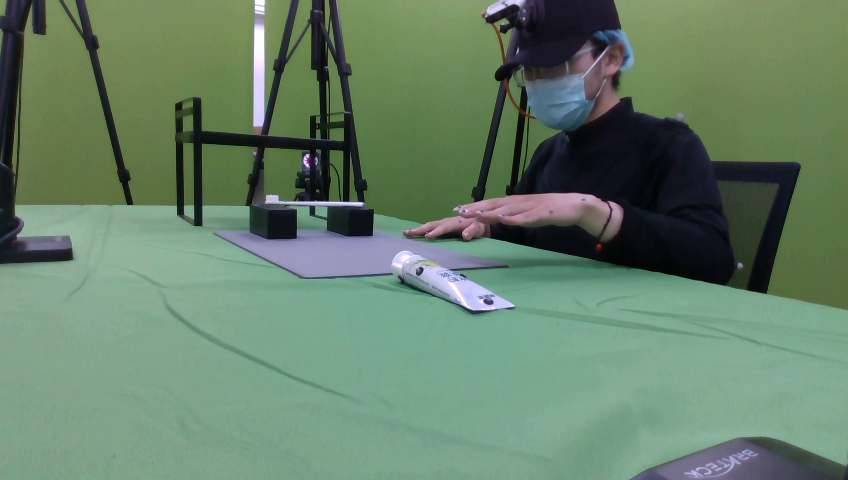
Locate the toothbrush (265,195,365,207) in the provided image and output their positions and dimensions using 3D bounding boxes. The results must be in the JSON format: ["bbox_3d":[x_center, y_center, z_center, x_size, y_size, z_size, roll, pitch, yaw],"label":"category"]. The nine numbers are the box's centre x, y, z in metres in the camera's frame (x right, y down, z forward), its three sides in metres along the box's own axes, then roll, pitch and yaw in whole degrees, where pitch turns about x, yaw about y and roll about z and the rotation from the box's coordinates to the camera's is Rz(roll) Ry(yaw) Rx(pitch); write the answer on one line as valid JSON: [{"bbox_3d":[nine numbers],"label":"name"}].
[{"bbox_3d":[-0.192,-0.068,1.081,0.183,0.016,0.014,1,-8,-26],"label":"toothbrush"}]

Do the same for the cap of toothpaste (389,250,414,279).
[{"bbox_3d":[-0.023,0.030,0.700,0.037,0.037,0.011,-3,13,-35],"label":"cap of toothpaste"}]

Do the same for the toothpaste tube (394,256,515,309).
[{"bbox_3d":[0.020,0.046,0.636,0.055,0.034,0.164,-6,15,-35],"label":"toothpaste tube"}]
